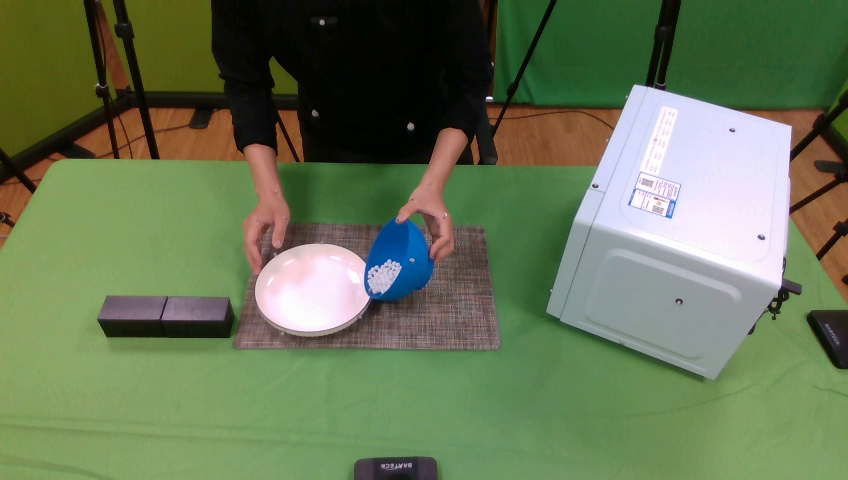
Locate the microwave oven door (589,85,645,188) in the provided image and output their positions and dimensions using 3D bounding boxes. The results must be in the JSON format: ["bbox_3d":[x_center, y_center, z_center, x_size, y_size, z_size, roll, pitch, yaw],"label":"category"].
[{"bbox_3d":[0.342,-0.107,1.148,0.039,0.245,0.354,20,48,15],"label":"microwave oven door"}]

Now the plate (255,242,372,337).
[{"bbox_3d":[-0.192,0.090,1.080,0.208,0.039,0.206,2,46,-2],"label":"plate"}]

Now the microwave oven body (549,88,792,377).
[{"bbox_3d":[0.456,-0.028,1.088,0.325,0.261,0.440,20,47,16],"label":"microwave oven body"}]

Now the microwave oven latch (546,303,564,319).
[{"bbox_3d":[0.242,0.102,1.081,0.030,0.029,0.079,21,48,17],"label":"microwave oven latch"}]

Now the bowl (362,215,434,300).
[{"bbox_3d":[-0.035,0.040,1.044,0.077,0.151,0.150,22,39,-27],"label":"bowl"}]
